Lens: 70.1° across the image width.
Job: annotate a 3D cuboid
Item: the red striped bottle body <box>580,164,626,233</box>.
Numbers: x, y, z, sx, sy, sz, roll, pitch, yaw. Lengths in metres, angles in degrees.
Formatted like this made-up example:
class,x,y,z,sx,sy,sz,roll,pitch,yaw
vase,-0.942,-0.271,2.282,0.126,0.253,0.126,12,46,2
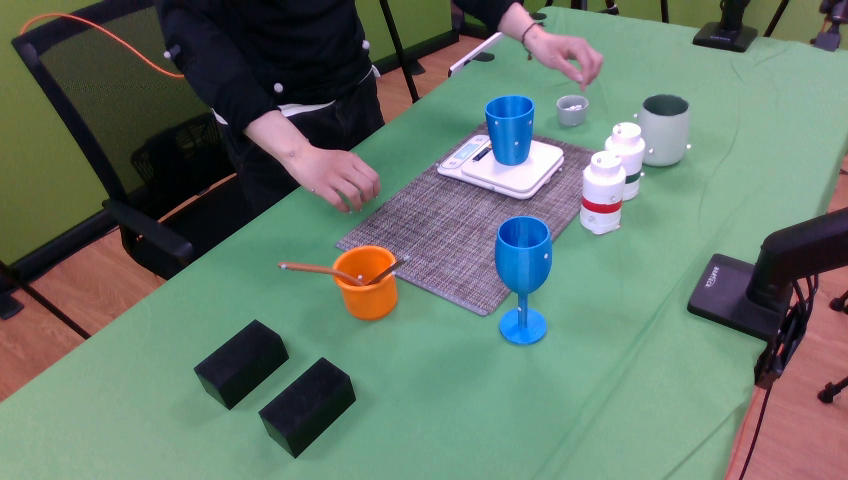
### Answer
class,x,y,z,sx,sy,sz,roll,pitch,yaw
red striped bottle body,0.278,-0.075,0.942,0.063,0.120,0.062,-4,41,4

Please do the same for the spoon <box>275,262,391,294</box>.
class,x,y,z,sx,sy,sz,roll,pitch,yaw
spoon,-0.120,0.050,0.830,0.041,0.195,0.021,30,96,45

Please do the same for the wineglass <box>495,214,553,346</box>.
class,x,y,z,sx,sy,sz,roll,pitch,yaw
wineglass,0.127,0.054,0.770,0.074,0.173,0.073,-4,40,4

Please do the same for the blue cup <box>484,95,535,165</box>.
class,x,y,z,sx,sy,sz,roll,pitch,yaw
blue cup,0.150,-0.187,1.052,0.092,0.100,0.092,-5,39,5

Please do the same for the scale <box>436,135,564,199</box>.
class,x,y,z,sx,sy,sz,roll,pitch,yaw
scale,0.137,-0.142,1.101,0.199,0.032,0.149,22,48,30

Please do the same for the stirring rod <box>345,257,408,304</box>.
class,x,y,z,sx,sy,sz,roll,pitch,yaw
stirring rod,-0.067,0.057,0.815,0.014,0.175,0.006,-25,82,-38

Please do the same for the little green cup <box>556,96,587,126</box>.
class,x,y,z,sx,sy,sz,roll,pitch,yaw
little green cup,0.295,-0.258,1.214,0.061,0.039,0.061,-4,42,4

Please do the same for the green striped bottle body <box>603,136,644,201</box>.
class,x,y,z,sx,sy,sz,roll,pitch,yaw
green striped bottle body,0.326,-0.128,0.997,0.063,0.120,0.063,-4,41,4

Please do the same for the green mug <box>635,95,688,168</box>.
class,x,y,z,sx,sy,sz,roll,pitch,yaw
green mug,0.421,-0.201,1.081,0.092,0.105,0.125,5,42,15

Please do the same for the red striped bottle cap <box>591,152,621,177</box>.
class,x,y,z,sx,sy,sz,roll,pitch,yaw
red striped bottle cap,0.273,-0.114,0.907,0.044,0.018,0.044,-5,38,5

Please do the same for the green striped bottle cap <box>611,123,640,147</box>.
class,x,y,z,sx,sy,sz,roll,pitch,yaw
green striped bottle cap,0.322,-0.168,0.963,0.044,0.020,0.044,-4,40,4
